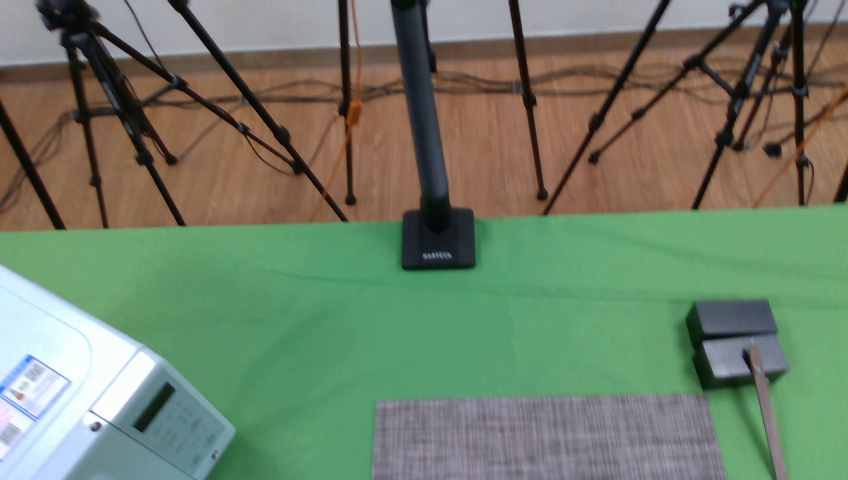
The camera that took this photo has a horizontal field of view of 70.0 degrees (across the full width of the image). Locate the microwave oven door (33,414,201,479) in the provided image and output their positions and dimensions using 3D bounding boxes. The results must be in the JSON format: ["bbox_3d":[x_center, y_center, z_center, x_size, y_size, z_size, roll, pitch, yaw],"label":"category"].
[{"bbox_3d":[-0.395,0.369,0.610,0.039,0.246,0.354,22,60,19],"label":"microwave oven door"}]

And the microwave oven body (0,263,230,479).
[{"bbox_3d":[-0.502,0.289,0.680,0.324,0.262,0.440,22,61,18],"label":"microwave oven body"}]

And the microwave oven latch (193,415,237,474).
[{"bbox_3d":[-0.281,0.264,0.796,0.030,0.030,0.079,24,62,19],"label":"microwave oven latch"}]

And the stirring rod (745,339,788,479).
[{"bbox_3d":[0.437,0.214,0.773,0.014,0.006,0.175,-7,77,-1],"label":"stirring rod"}]
